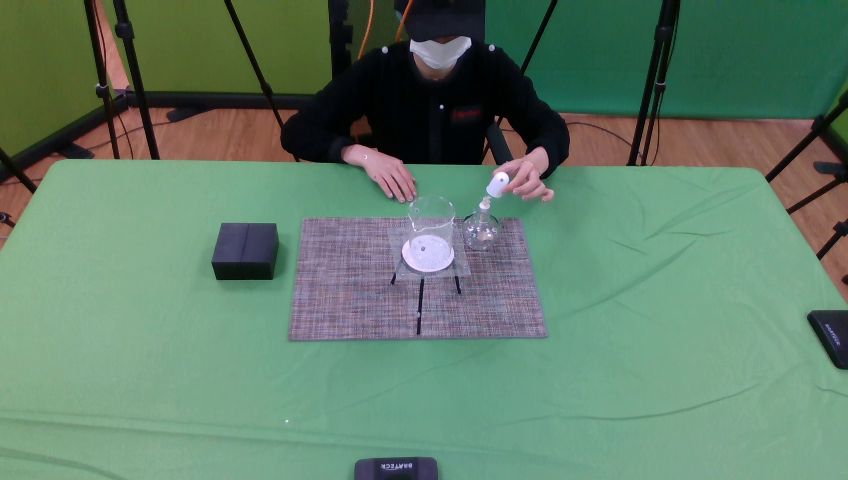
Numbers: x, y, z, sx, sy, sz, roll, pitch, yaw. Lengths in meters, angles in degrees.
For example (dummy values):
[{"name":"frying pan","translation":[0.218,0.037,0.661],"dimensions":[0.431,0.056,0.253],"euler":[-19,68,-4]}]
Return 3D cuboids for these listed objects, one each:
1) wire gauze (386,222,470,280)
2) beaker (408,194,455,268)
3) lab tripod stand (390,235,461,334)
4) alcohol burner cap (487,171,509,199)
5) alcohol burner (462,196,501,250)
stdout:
[{"name":"wire gauze","translation":[0.005,0.018,1.006],"dimensions":[0.125,0.011,0.120],"euler":[-7,45,-5]},{"name":"beaker","translation":[0.009,-0.010,0.965],"dimensions":[0.074,0.101,0.084],"euler":[23,50,20]},{"name":"lab tripod stand","translation":[-0.001,0.067,1.050],"dimensions":[0.148,0.132,0.147],"euler":[1,47,-1]},{"name":"alcohol burner cap","translation":[0.137,-0.102,1.098],"dimensions":[0.034,0.048,0.033],"euler":[12,41,-11]},{"name":"alcohol burner","translation":[0.112,-0.037,1.173],"dimensions":[0.078,0.120,0.077],"euler":[1,45,-1]}]
